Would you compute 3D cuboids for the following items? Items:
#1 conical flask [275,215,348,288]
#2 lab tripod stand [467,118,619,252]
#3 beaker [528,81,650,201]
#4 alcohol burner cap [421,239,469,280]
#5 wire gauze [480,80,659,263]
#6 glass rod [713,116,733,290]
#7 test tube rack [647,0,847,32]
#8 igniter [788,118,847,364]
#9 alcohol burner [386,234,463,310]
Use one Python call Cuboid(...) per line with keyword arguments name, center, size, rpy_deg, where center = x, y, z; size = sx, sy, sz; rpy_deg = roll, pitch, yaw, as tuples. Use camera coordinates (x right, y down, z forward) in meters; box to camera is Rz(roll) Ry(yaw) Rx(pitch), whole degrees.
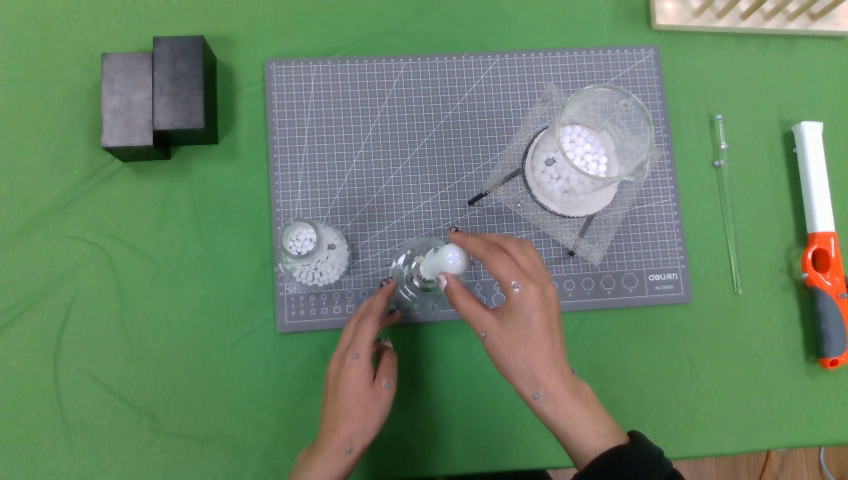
Cuboid(name="conical flask", center=(-0.114, 0.005, 0.585), size=(0.075, 0.122, 0.075), rpy_deg=(1, 82, -4))
Cuboid(name="lab tripod stand", center=(0.123, -0.056, 0.606), size=(0.148, 0.131, 0.148), rpy_deg=(0, 83, -3))
Cuboid(name="beaker", center=(0.130, -0.073, 0.494), size=(0.074, 0.100, 0.084), rpy_deg=(-43, 87, -8))
Cuboid(name="alcohol burner cap", center=(0.020, 0.014, 0.514), size=(0.034, 0.048, 0.033), rpy_deg=(4, 79, -18))
Cuboid(name="wire gauze", center=(0.130, -0.063, 0.541), size=(0.125, 0.011, 0.121), rpy_deg=(33, 84, -1))
Cuboid(name="glass rod", center=(0.339, -0.043, 0.686), size=(0.008, 0.008, 0.199), rpy_deg=(-2, 85, -5))
Cuboid(name="test tube rack", center=(0.387, -0.289, 0.684), size=(0.243, 0.085, 0.066), rpy_deg=(0, 82, -4))
Cuboid(name="igniter", center=(0.442, -0.002, 0.679), size=(0.057, 0.025, 0.275), rpy_deg=(0, 82, -15))
Cuboid(name="alcohol burner", center=(0.001, 0.029, 0.595), size=(0.078, 0.119, 0.077), rpy_deg=(0, 82, -2))
